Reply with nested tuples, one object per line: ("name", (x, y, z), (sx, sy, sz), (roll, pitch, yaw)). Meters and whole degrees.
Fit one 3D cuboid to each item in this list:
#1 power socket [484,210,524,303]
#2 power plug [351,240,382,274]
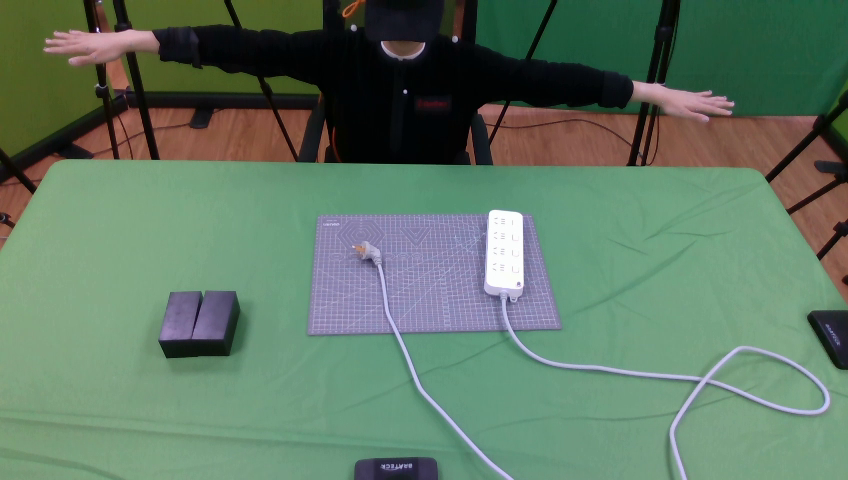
("power socket", (0.157, 0.023, 1.175), (0.072, 0.033, 0.225), (6, 46, 3))
("power plug", (-0.107, 0.029, 1.144), (0.053, 0.035, 0.072), (3, 31, -24))
